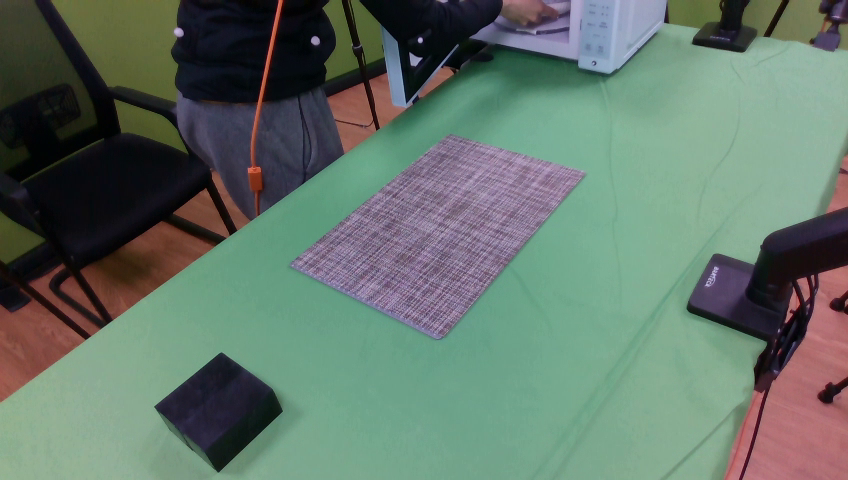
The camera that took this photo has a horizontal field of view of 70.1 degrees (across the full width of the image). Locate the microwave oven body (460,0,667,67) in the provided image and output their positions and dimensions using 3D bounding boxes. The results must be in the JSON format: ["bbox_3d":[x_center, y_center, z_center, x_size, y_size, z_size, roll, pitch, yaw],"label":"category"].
[{"bbox_3d":[0.324,-0.609,1.437,0.438,0.261,0.327,23,50,31],"label":"microwave oven body"}]

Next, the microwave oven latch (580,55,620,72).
[{"bbox_3d":[0.386,-0.393,1.330,0.078,0.029,0.030,25,51,32],"label":"microwave oven latch"}]

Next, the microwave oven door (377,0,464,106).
[{"bbox_3d":[0.003,-0.493,1.344,0.039,0.245,0.356,11,45,21],"label":"microwave oven door"}]

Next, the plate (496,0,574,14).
[{"bbox_3d":[0.275,-0.597,1.477,0.209,0.038,0.208,-4,39,4],"label":"plate"}]
